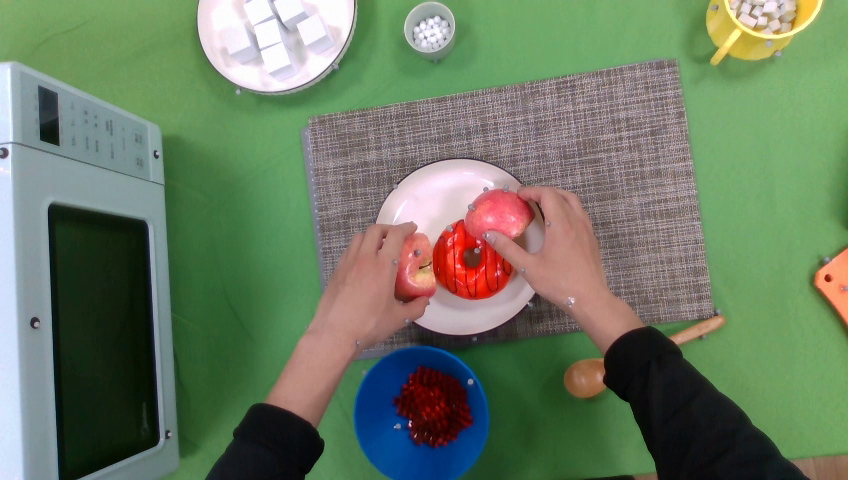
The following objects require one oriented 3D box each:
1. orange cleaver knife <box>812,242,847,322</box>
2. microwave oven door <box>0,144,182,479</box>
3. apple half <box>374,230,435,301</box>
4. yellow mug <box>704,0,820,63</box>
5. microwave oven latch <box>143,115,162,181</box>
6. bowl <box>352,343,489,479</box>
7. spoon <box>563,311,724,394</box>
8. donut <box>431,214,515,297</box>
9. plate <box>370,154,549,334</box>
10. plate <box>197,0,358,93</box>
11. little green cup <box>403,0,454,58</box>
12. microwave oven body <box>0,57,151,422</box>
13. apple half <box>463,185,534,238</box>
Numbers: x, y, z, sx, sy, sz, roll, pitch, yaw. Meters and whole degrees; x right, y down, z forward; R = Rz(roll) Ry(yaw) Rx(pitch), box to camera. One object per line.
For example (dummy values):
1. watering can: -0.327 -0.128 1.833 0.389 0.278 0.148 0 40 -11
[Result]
1. orange cleaver knife: 0.492 0.102 0.649 0.077 0.012 0.210 -23 82 2
2. microwave oven door: -0.350 0.096 0.649 0.039 0.244 0.355 -6 86 9
3. apple half: -0.028 0.031 0.685 0.053 0.074 0.081 -9 98 -30
4. yellow mug: 0.359 -0.249 0.666 0.099 0.064 0.131 40 94 9
5. microwave oven latch: -0.350 -0.115 0.763 0.030 0.029 0.079 -5 87 8
6. bowl: 0.001 0.189 0.691 0.151 0.077 0.151 -1 87 9
7. spoon: 0.249 0.124 0.684 0.194 0.022 0.041 -25 68 7
8. donut: 0.056 0.017 0.698 0.099 0.048 0.099 0 91 12
9. plate: 0.041 0.005 0.711 0.209 0.038 0.208 -1 87 9
10. plate: -0.181 -0.284 0.765 0.207 0.039 0.207 -1 87 9
11. little green cup: 0.008 -0.253 0.734 0.061 0.039 0.061 -1 86 9
12. microwave oven body: -0.496 0.069 0.678 0.325 0.261 0.441 -6 87 8
13. apple half: 0.081 -0.038 0.664 0.081 0.033 0.080 -11 40 10
